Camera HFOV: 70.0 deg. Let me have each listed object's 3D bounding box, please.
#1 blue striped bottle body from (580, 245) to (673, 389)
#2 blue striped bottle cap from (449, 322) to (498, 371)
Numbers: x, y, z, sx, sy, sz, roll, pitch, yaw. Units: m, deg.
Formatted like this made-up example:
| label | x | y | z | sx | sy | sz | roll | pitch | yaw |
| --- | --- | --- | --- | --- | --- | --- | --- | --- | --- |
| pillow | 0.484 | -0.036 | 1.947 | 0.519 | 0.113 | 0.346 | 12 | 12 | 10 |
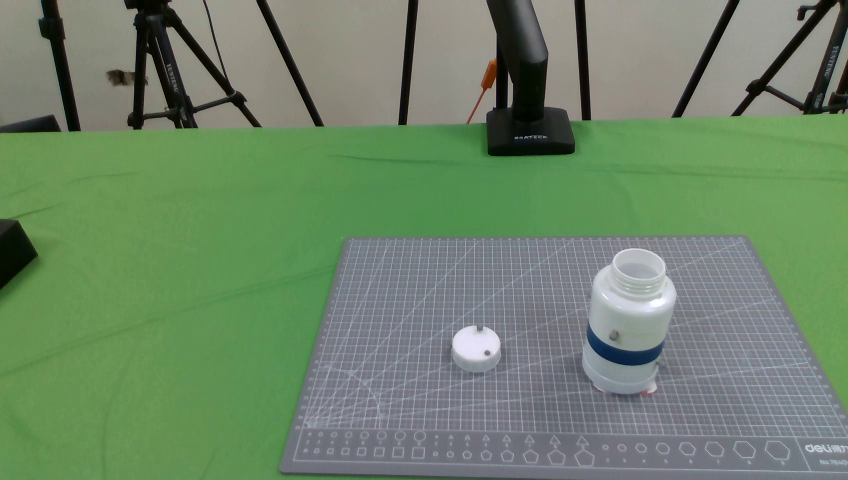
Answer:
| label | x | y | z | sx | sy | sz | roll | pitch | yaw |
| --- | --- | --- | --- | --- | --- | --- | --- | --- | --- |
| blue striped bottle body | 0.165 | 0.061 | 0.497 | 0.063 | 0.122 | 0.062 | -2 | 39 | 2 |
| blue striped bottle cap | 0.045 | 0.096 | 0.549 | 0.044 | 0.021 | 0.044 | -1 | 37 | 1 |
